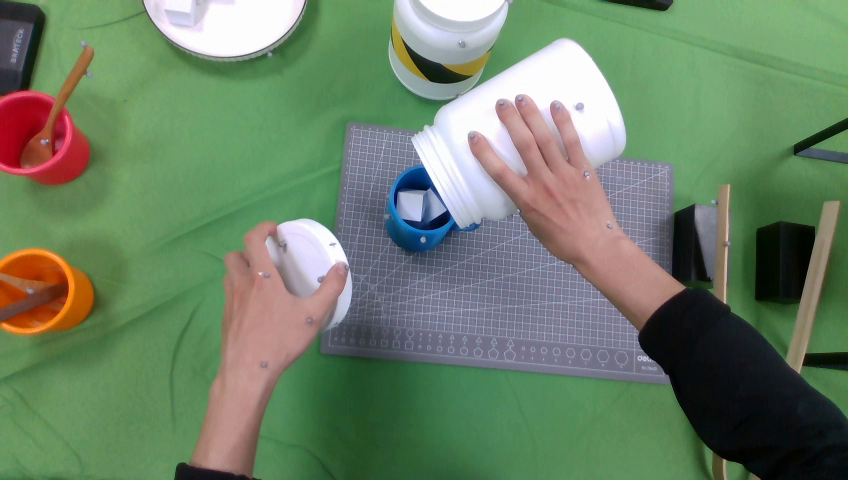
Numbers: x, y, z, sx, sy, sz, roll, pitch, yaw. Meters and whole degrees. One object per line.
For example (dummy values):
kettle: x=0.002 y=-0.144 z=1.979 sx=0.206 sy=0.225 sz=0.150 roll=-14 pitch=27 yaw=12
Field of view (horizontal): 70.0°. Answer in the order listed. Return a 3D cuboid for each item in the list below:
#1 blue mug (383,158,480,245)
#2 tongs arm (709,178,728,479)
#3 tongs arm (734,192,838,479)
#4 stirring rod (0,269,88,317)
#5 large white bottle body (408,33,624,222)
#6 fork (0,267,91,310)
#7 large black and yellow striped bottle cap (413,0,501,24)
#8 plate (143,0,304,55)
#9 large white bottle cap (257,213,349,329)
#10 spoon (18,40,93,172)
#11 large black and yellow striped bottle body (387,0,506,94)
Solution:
blue mug: x=0.010 y=-0.039 z=0.729 sx=0.117 sy=0.106 sz=0.082 roll=13 pitch=78 yaw=-5
tongs arm: x=0.380 y=0.117 z=0.754 sx=0.051 sy=0.026 sz=0.384 roll=2 pitch=92 yaw=-10
tongs arm: x=0.461 y=0.126 z=0.766 sx=0.028 sy=0.027 sz=0.387 roll=15 pitch=90 yaw=-13
stirring rod: x=-0.436 y=0.069 z=0.637 sx=0.014 sy=0.006 sz=0.176 roll=52 pitch=36 yaw=1
large white bottle body: x=0.089 y=-0.107 z=0.612 sx=0.184 sy=0.131 sz=0.130 roll=-28 pitch=84 yaw=6
fork: x=-0.455 y=0.029 z=0.635 sx=0.209 sy=0.018 sz=0.028 roll=36 pitch=71 yaw=-45
large black and yellow striped bottle cap: x=0.035 y=-0.290 z=0.653 sx=0.115 sy=0.019 sz=0.114 roll=1 pitch=81 yaw=-8
plate: x=-0.255 y=-0.332 z=0.782 sx=0.208 sy=0.039 sz=0.207 roll=1 pitch=80 yaw=-7
large white bottle cap: x=-0.121 y=0.031 z=0.596 sx=0.018 sy=0.114 sz=0.114 roll=-13 pitch=79 yaw=-54
spoon: x=-0.411 y=-0.146 z=0.675 sx=0.194 sy=0.021 sz=0.041 roll=-43 pitch=82 yaw=31
large black and yellow striped bottle body: x=0.024 y=-0.273 z=0.734 sx=0.131 sy=0.184 sz=0.130 roll=1 pitch=79 yaw=-7
